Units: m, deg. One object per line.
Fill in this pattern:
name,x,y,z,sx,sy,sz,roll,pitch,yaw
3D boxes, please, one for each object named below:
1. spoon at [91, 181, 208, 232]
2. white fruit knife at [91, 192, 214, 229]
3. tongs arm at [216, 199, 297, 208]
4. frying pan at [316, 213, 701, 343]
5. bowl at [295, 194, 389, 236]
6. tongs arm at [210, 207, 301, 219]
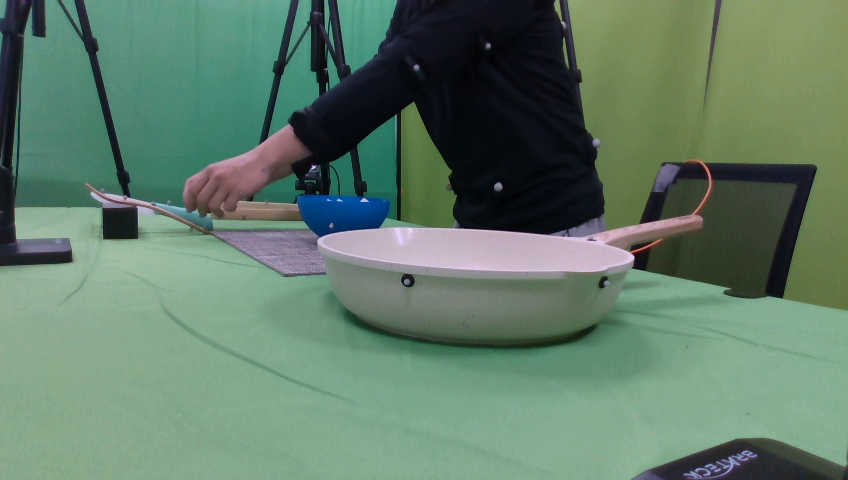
spoon,-0.461,-0.053,1.023,0.195,0.021,0.041,21,25,-24
white fruit knife,-0.477,-0.055,1.077,0.208,0.027,0.016,15,-5,-30
tongs arm,-0.307,-0.076,1.469,0.386,0.026,0.050,2,8,-11
frying pan,0.133,0.013,0.629,0.490,0.102,0.305,-12,14,-30
bowl,-0.132,-0.032,0.980,0.151,0.077,0.151,2,7,0
tongs arm,-0.287,-0.062,1.392,0.389,0.028,0.028,0,5,-23
